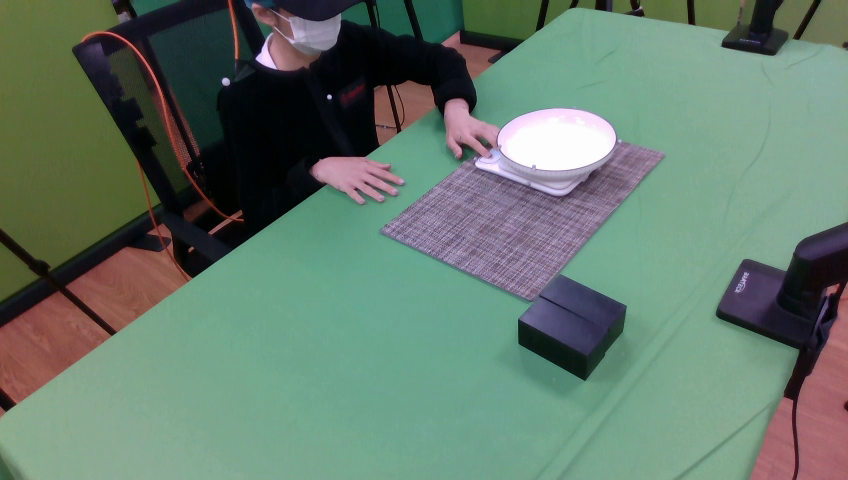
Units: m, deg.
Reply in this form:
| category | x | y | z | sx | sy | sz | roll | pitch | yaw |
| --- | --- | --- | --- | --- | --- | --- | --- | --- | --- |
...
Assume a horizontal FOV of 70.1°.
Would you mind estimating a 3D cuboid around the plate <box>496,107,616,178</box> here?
| category | x | y | z | sx | sy | sz | roll | pitch | yaw |
| --- | --- | --- | --- | --- | --- | --- | --- | --- | --- |
| plate | 0.232 | -0.169 | 1.074 | 0.207 | 0.039 | 0.206 | -5 | 41 | 5 |

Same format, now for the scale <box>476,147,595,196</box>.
| category | x | y | z | sx | sy | sz | roll | pitch | yaw |
| --- | --- | --- | --- | --- | --- | --- | --- | --- | --- |
| scale | 0.209 | -0.148 | 1.105 | 0.199 | 0.032 | 0.149 | 26 | 50 | 34 |
